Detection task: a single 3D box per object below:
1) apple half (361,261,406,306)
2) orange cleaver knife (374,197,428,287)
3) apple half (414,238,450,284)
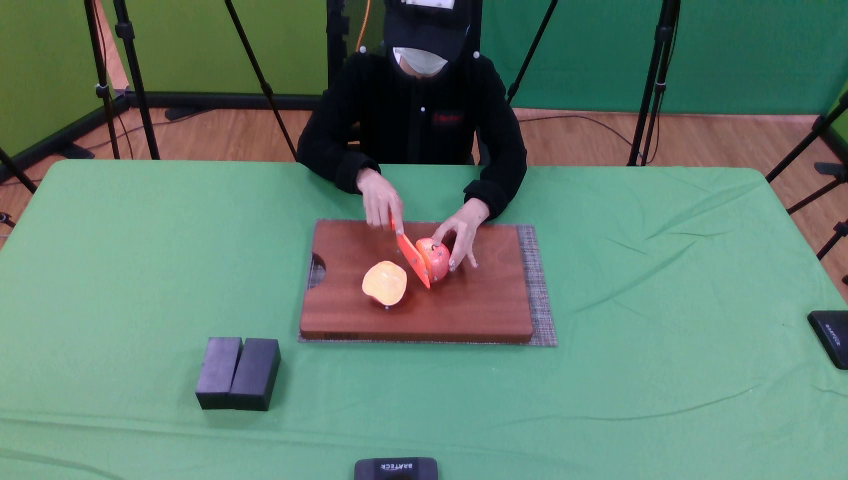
[{"bbox_3d":[-0.066,0.079,1.064,0.081,0.033,0.081,-1,69,4],"label":"apple half"},{"bbox_3d":[-0.042,0.001,1.090,0.012,0.077,0.210,-22,47,-15],"label":"orange cleaver knife"},{"bbox_3d":[0.019,0.037,1.090,0.053,0.075,0.080,-11,43,-19],"label":"apple half"}]
